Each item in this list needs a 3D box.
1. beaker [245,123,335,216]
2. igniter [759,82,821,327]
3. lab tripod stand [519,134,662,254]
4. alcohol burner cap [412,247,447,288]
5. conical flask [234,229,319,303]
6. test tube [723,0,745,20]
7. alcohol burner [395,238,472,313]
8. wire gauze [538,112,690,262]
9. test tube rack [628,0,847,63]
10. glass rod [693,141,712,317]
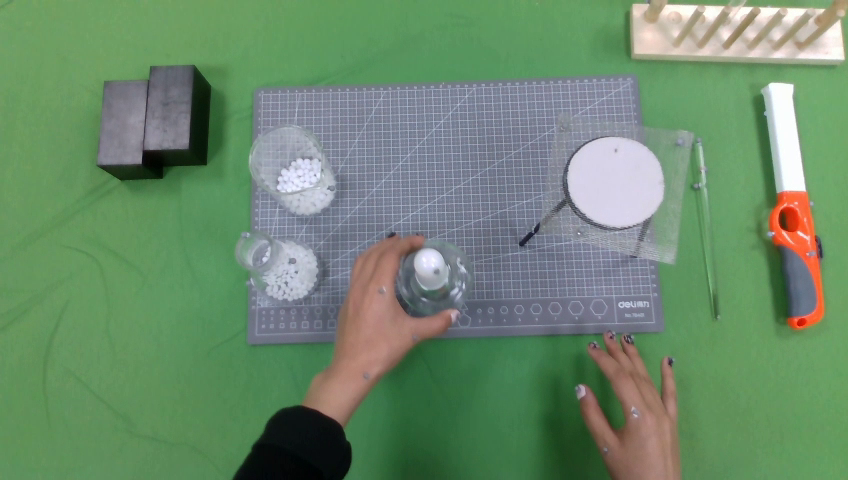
[{"bbox_3d":[-0.134,-0.069,0.644,0.084,0.100,0.074,34,81,7],"label":"beaker"},{"bbox_3d":[0.402,-0.043,0.667,0.057,0.025,0.275,2,78,-8],"label":"igniter"},{"bbox_3d":[0.170,-0.038,0.613,0.148,0.132,0.148,0,80,2],"label":"lab tripod stand"},{"bbox_3d":[0.004,0.023,0.561,0.034,0.048,0.033,-1,71,4],"label":"alcohol burner cap"},{"bbox_3d":[-0.154,0.021,0.614,0.075,0.122,0.075,0,78,1],"label":"conical flask"},{"bbox_3d":[0.346,-0.278,0.636,0.017,0.151,0.017,-1,78,4],"label":"test tube"},{"bbox_3d":[0.007,0.032,0.596,0.078,0.120,0.077,-1,78,7],"label":"alcohol burner"},{"bbox_3d":[0.172,-0.051,0.547,0.125,0.011,0.121,12,80,4],"label":"wire gauze"},{"bbox_3d":[0.364,-0.252,0.681,0.242,0.085,0.066,2,78,2],"label":"test tube rack"},{"bbox_3d":[0.309,-0.015,0.672,0.008,0.008,0.199,0,81,1],"label":"glass rod"}]
